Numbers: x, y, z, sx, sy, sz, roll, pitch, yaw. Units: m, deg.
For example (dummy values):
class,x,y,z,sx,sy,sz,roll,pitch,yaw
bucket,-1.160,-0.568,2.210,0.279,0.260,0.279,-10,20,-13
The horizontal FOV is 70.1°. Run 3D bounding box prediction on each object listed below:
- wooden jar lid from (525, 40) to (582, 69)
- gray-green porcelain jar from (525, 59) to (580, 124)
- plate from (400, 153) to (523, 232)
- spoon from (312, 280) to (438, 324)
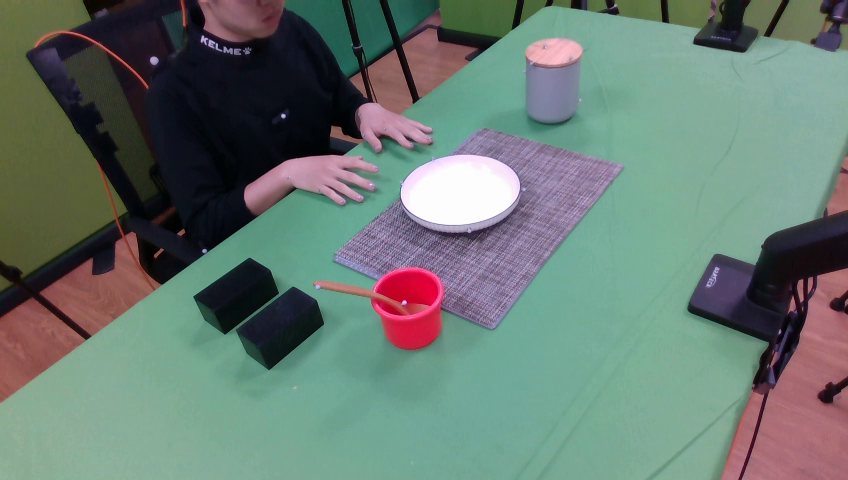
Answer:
class,x,y,z,sx,sy,sz,roll,pitch,yaw
wooden jar lid,0.249,-0.354,1.167,0.108,0.021,0.108,-4,44,5
gray-green porcelain jar,0.256,-0.305,1.209,0.106,0.127,0.105,-4,41,4
plate,0.065,-0.078,1.034,0.207,0.039,0.206,-4,41,4
spoon,-0.060,0.078,0.793,0.195,0.021,0.041,24,25,-35
